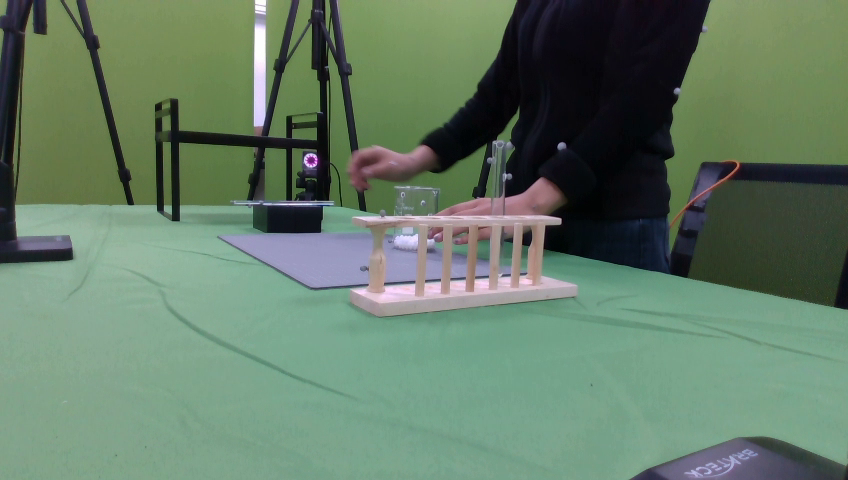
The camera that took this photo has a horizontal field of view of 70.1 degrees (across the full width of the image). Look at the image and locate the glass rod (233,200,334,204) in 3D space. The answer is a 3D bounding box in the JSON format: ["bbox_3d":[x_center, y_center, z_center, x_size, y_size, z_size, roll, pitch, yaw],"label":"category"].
[{"bbox_3d":[-0.262,-0.071,1.146,0.201,0.008,0.008,-2,9,-34],"label":"glass rod"}]

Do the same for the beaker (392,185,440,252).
[{"bbox_3d":[-0.012,-0.035,0.957,0.084,0.100,0.073,-2,9,-36],"label":"beaker"}]

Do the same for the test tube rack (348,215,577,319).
[{"bbox_3d":[0.048,0.021,0.619,0.244,0.085,0.066,-2,8,-31],"label":"test tube rack"}]

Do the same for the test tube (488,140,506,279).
[{"bbox_3d":[0.079,-0.032,0.654,0.017,0.150,0.017,1,2,0],"label":"test tube"}]
